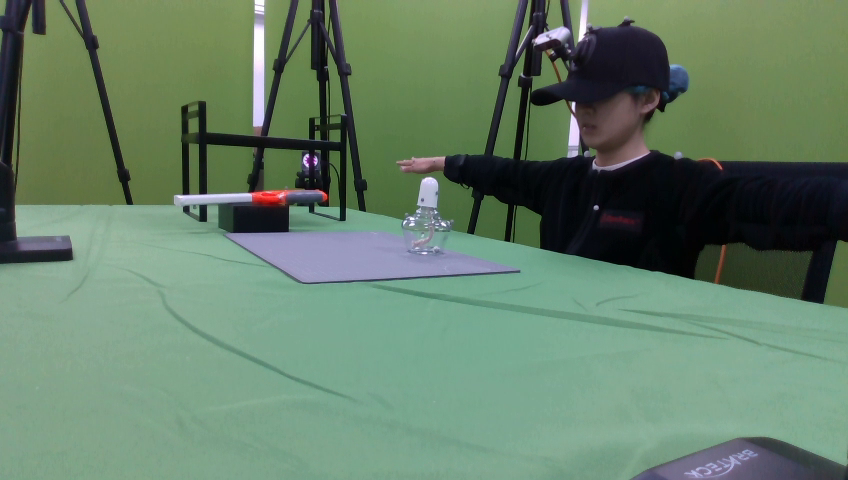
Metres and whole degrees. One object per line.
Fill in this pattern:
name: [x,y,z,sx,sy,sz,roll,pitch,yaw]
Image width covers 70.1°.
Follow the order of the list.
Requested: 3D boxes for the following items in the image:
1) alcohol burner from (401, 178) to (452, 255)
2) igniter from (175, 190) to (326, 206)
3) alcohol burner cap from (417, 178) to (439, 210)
alcohol burner: [0.005,-0.036,0.923,0.078,0.119,0.078,5,7,0]
igniter: [-0.315,-0.079,1.128,0.278,0.025,0.057,-5,13,-34]
alcohol burner cap: [0.008,-0.071,0.917,0.034,0.048,0.034,6,5,0]
